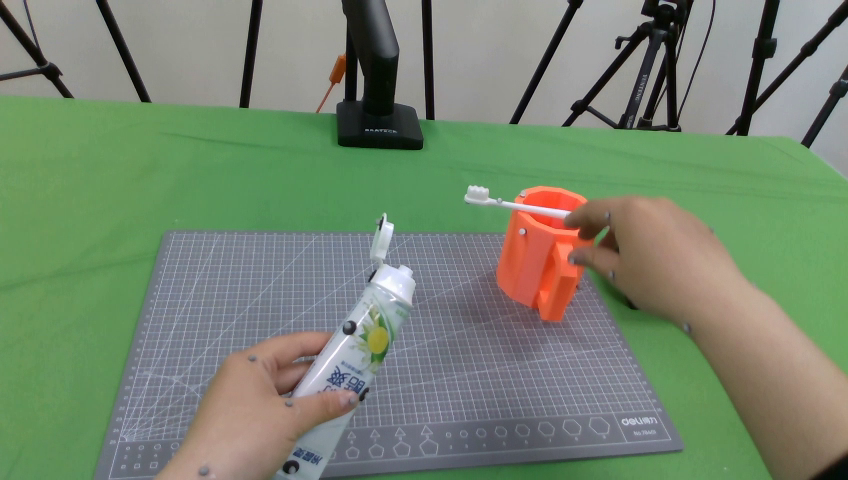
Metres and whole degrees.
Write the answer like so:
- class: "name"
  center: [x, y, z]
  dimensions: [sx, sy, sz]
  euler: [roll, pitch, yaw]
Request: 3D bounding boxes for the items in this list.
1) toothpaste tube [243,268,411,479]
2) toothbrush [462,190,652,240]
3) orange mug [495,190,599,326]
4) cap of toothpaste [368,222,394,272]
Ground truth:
- class: "toothpaste tube"
  center: [-0.056, 0.090, 0.411]
  dimensions: [0.055, 0.164, 0.034]
  euler: [35, -12, -22]
- class: "toothbrush"
  center: [0.126, -0.023, 0.576]
  dimensions: [0.182, 0.017, 0.014]
  euler: [12, 28, 3]
- class: "orange mug"
  center: [0.124, 0.021, 0.604]
  dimensions: [0.083, 0.101, 0.125]
  euler: [5, 32, -5]
- class: "cap of toothpaste"
  center: [-0.030, 0.005, 0.429]
  dimensions: [0.011, 0.037, 0.037]
  euler: [17, 36, -2]
